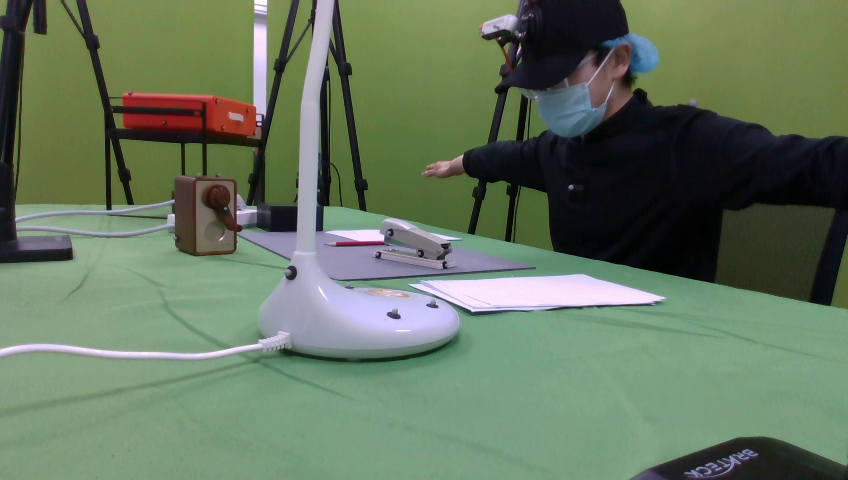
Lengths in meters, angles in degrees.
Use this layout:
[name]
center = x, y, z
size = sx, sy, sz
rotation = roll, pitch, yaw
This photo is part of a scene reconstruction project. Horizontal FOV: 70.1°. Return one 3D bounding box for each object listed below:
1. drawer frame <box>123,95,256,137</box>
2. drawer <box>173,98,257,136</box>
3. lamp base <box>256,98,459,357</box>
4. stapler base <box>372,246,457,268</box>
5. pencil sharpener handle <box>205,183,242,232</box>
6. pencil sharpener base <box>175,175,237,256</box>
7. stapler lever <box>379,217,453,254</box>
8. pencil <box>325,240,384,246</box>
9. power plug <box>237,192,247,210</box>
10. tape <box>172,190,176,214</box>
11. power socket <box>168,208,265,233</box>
[drawer frame]
center = -0.524, -0.281, 1.376
size = 0.213, 0.082, 0.202
rotation = 3, 8, 8
[drawer]
center = -0.518, -0.279, 1.376
size = 0.211, 0.073, 0.195
rotation = 3, 8, 10
[lamp base]
center = -0.055, -0.013, 0.463
size = 0.160, 0.180, 0.180
rotation = 6, 11, 27
[stapler base]
center = -0.016, 0.017, 0.831
size = 0.130, 0.024, 0.041
rotation = 10, 12, 39
[pencil sharpener handle]
center = -0.265, -0.043, 0.812
size = 0.036, 0.068, 0.030
rotation = -32, 28, -35
[pencil sharpener base]
center = -0.304, -0.036, 0.847
size = 0.062, 0.107, 0.076
rotation = -4, 10, -42
[stapler lever]
center = -0.014, -0.007, 0.827
size = 0.117, 0.040, 0.027
rotation = 9, 11, 39
[pencil]
center = -0.066, 0.003, 0.979
size = 0.195, 0.012, 0.012
rotation = -3, 9, -25
[power plug]
center = -0.386, -0.071, 1.204
size = 0.072, 0.052, 0.035
rotation = 7, 8, 26
[tape]
center = -0.515, -0.087, 1.388
size = 0.117, 0.052, 0.117
rotation = 3, 7, 0
[power socket]
center = -0.381, -0.038, 1.129
size = 0.072, 0.032, 0.227
rotation = 4, 8, 17
